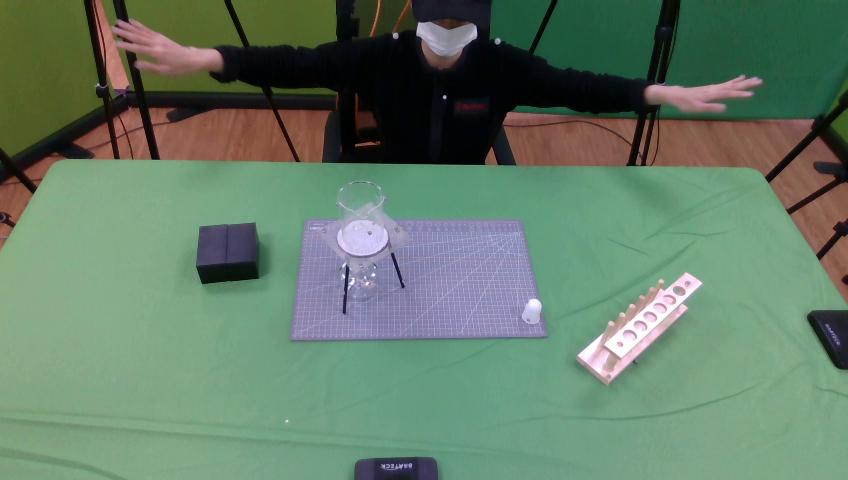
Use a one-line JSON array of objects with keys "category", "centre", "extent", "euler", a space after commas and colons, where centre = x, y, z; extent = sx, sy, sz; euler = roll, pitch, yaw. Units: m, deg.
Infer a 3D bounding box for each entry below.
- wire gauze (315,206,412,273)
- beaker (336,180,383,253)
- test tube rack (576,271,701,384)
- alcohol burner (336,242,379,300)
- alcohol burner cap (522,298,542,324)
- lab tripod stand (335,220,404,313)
[{"category": "wire gauze", "centre": [-0.103, -0.007, 1.024], "extent": [0.121, 0.011, 0.124], "euler": [-28, 50, -29]}, {"category": "beaker", "centre": [-0.102, -0.034, 0.981], "extent": [0.074, 0.101, 0.083], "euler": [-7, 46, -9]}, {"category": "test tube rack", "centre": [0.373, 0.138, 1.047], "extent": [0.242, 0.085, 0.066], "euler": [-31, 56, -29]}, {"category": "alcohol burner", "centre": [-0.118, 0.050, 1.072], "extent": [0.078, 0.120, 0.077], "euler": [2, 44, -1]}, {"category": "alcohol burner cap", "centre": [0.193, 0.124, 1.074], "extent": [0.034, 0.048, 0.033], "euler": [2, 46, -1]}, {"category": "lab tripod stand", "centre": [-0.110, 0.039, 1.070], "extent": [0.148, 0.132, 0.147], "euler": [1, 46, -1]}]
